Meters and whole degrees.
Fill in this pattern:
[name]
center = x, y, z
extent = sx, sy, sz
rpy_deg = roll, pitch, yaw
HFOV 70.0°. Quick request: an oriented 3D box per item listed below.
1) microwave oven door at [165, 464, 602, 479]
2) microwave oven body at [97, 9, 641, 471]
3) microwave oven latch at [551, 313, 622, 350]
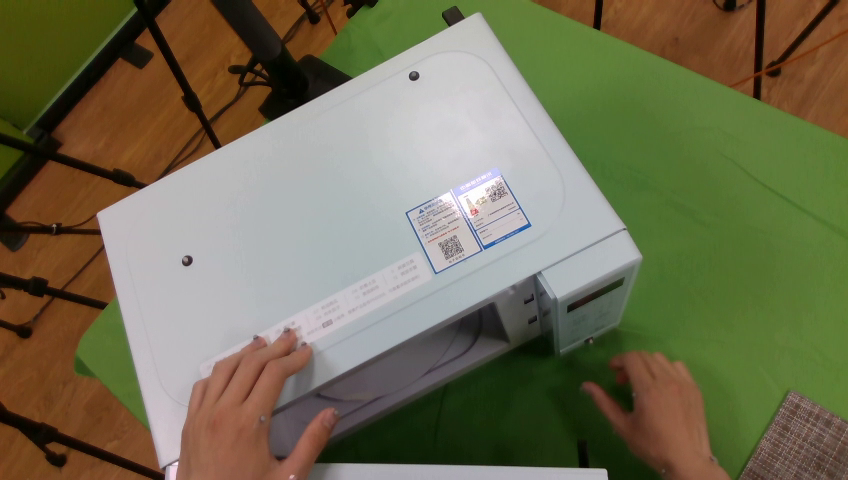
[microwave oven door]
center = -0.017, 0.229, 0.570
extent = 0.355, 0.246, 0.039
rpy_deg = -3, 67, 11
[microwave oven body]
center = -0.055, 0.024, 0.663
extent = 0.442, 0.262, 0.323
rpy_deg = -28, 66, 2
[microwave oven latch]
center = 0.184, 0.095, 0.688
extent = 0.079, 0.030, 0.030
rpy_deg = -26, 66, 3
